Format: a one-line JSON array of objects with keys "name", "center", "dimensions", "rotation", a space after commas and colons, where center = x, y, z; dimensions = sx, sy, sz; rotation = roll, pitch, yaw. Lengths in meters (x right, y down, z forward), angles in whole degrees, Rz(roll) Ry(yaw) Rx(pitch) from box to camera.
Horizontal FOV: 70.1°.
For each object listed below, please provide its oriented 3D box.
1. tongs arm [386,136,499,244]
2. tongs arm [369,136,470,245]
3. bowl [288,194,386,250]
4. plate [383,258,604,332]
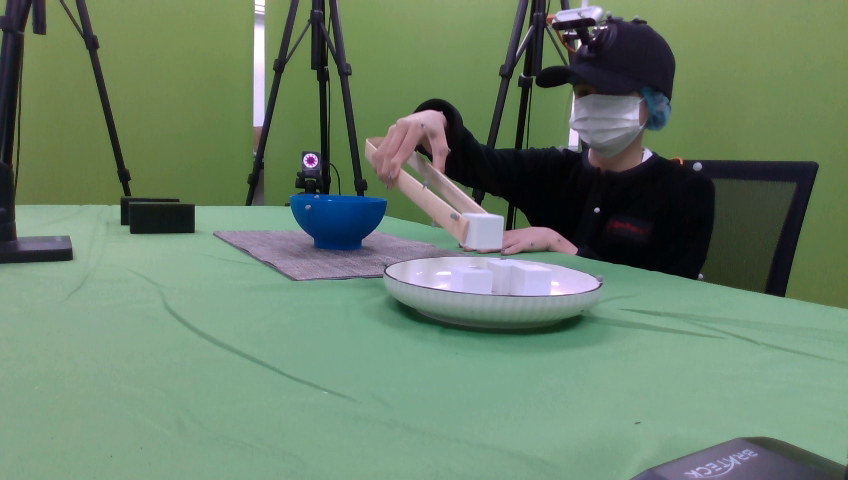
[{"name": "tongs arm", "center": [0.011, -0.076, 0.754], "dimensions": [0.028, 0.028, 0.386], "rotation": [-6, 23, -16]}, {"name": "tongs arm", "center": [-0.010, -0.076, 0.747], "dimensions": [0.051, 0.026, 0.383], "rotation": [-4, 23, -22]}, {"name": "bowl", "center": [-0.135, -0.027, 0.936], "dimensions": [0.151, 0.077, 0.151], "rotation": [3, 7, 0]}, {"name": "plate", "center": [0.064, 0.051, 0.582], "dimensions": [0.209, 0.038, 0.209], "rotation": [3, 7, 0]}]
